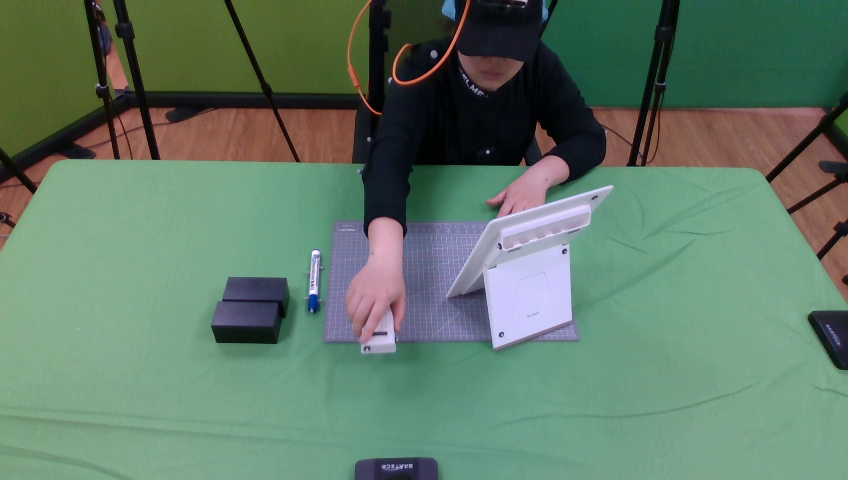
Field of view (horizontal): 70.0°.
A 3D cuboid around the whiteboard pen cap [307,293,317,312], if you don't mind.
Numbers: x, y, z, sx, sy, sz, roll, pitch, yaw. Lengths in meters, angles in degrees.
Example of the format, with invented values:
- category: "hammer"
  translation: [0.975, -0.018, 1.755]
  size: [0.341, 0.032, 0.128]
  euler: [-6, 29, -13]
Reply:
- category: "whiteboard pen cap"
  translation: [-0.199, 0.110, 1.077]
  size: [0.018, 0.018, 0.033]
  euler: [-2, 47, -6]

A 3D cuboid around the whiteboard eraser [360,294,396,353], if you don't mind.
- category: "whiteboard eraser"
  translation: [-0.076, 0.138, 0.992]
  size: [0.056, 0.042, 0.112]
  euler: [0, 38, -7]

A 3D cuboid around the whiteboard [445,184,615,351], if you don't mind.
- category: "whiteboard"
  translation: [0.187, 0.065, 0.989]
  size: [0.217, 0.306, 0.143]
  euler: [-15, 68, -18]

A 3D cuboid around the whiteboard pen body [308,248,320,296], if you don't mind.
- category: "whiteboard pen body"
  translation: [-0.204, 0.069, 1.119]
  size: [0.017, 0.017, 0.140]
  euler: [-1, 46, -5]
